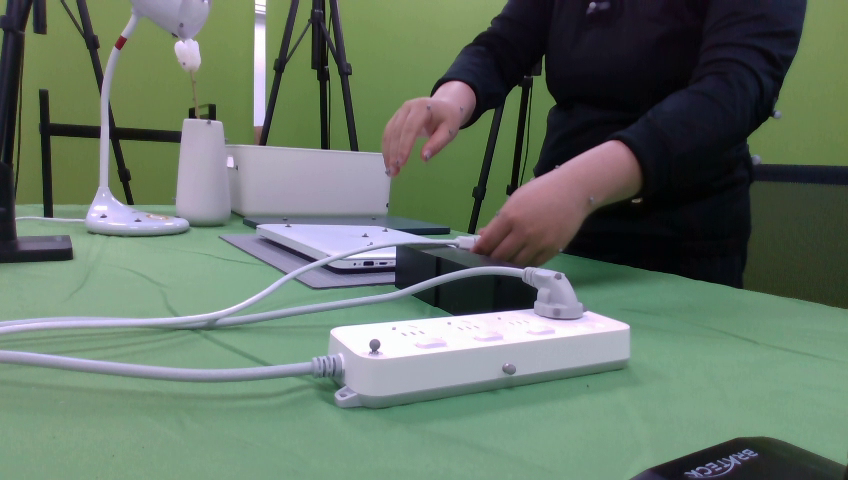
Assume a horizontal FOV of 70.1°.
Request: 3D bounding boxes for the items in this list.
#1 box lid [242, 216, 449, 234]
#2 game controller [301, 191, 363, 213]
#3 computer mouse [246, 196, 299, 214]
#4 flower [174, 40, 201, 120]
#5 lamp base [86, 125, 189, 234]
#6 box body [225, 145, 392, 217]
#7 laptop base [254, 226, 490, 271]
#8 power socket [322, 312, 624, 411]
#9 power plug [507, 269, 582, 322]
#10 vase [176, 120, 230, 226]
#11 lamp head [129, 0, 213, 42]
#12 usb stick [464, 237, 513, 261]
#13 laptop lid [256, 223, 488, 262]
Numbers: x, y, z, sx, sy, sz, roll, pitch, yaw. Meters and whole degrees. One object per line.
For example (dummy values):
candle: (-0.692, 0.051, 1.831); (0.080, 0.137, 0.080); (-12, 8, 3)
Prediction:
box lid: (-0.162, -0.030, 1.233); (0.373, 0.015, 0.262); (-1, 8, -32)
game controller: (-0.240, -0.098, 1.550); (0.155, 0.051, 0.097); (3, 9, 5)
computer mouse: (-0.354, -0.083, 1.418); (0.117, 0.041, 0.063); (0, 10, 7)
flower: (-0.430, -0.211, 1.165); (0.044, 0.361, 0.038); (-10, -5, -22)
lamp base: (-0.497, -0.105, 1.027); (0.179, 0.180, 0.160); (1, 7, 3)
box body: (-0.289, -0.143, 1.475); (0.366, 0.160, 0.253); (-1, 9, -29)
laptop base: (-0.096, 0.011, 0.912); (0.237, 0.023, 0.352); (3, 7, -32)
power socket: (0.039, 0.075, 0.410); (0.228, 0.032, 0.072); (-1, 8, -28)
power plug: (0.094, 0.051, 0.470); (0.035, 0.052, 0.072); (-1, 6, -16)
vase: (-0.424, -0.128, 1.159); (0.098, 0.200, 0.098); (2, 9, 0)
lamp head: (-0.423, -0.394, 0.980); (0.123, 0.112, 0.112); (20, 7, -3)
usb stick: (0.076, 0.012, 0.700); (0.059, 0.021, 0.027); (8, -15, -31)
laptop lid: (-0.092, 0.000, 0.912); (0.243, 0.013, 0.355); (1, 7, -30)
